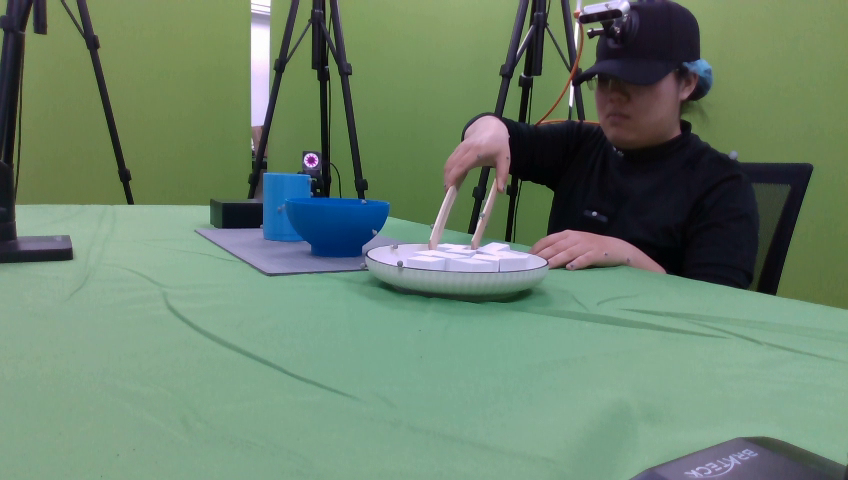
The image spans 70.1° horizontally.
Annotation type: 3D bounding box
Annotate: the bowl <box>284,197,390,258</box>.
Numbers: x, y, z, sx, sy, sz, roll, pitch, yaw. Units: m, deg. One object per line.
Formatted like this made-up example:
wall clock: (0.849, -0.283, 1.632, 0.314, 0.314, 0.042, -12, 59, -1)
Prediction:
bowl: (-0.125, -0.018, 0.870, 0.151, 0.077, 0.151, 2, 7, 0)

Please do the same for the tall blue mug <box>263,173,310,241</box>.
tall blue mug: (-0.233, -0.058, 1.019, 0.078, 0.108, 0.107, -1, 8, -19)

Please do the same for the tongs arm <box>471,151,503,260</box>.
tongs arm: (0.085, -0.067, 0.903, 0.050, 0.026, 0.385, 1, 25, 16)

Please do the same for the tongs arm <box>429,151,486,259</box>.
tongs arm: (0.054, -0.067, 0.909, 0.028, 0.028, 0.388, -3, 24, 16)

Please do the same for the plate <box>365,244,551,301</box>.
plate: (0.038, 0.035, 0.685, 0.209, 0.038, 0.209, 2, 7, 0)
